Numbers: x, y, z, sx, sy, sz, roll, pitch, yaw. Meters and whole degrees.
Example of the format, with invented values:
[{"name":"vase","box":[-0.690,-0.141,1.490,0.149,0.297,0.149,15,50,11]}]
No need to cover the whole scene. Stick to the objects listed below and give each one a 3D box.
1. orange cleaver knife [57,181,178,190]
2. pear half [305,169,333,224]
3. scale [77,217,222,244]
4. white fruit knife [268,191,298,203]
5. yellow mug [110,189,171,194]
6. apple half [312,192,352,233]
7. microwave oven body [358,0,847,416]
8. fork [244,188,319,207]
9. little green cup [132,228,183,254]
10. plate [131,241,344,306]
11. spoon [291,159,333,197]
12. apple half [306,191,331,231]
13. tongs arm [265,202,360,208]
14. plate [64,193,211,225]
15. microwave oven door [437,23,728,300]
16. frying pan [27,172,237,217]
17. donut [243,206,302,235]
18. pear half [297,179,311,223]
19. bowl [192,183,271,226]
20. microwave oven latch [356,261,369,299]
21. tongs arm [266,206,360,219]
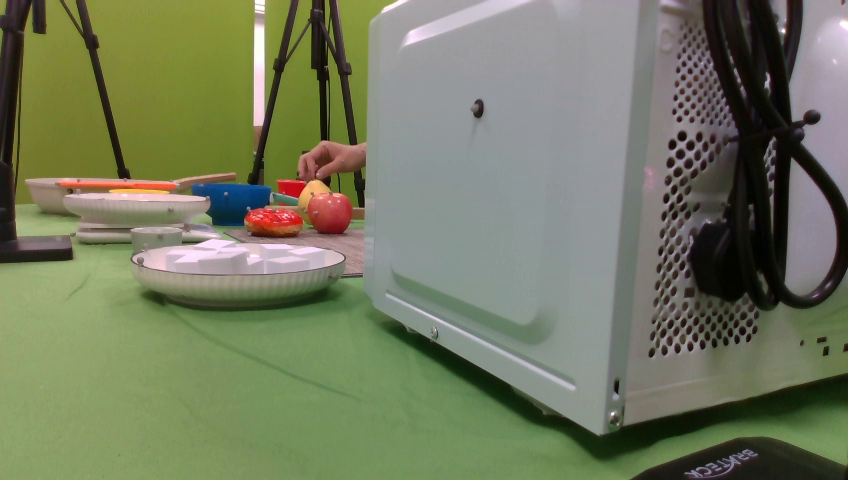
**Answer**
[{"name":"orange cleaver knife","box":[-0.600,-0.109,1.189,0.212,0.012,0.077,-1,11,-26]},{"name":"pear half","box":[-0.201,-0.087,1.199,0.056,0.110,0.076,-3,11,5]},{"name":"scale","box":[-0.434,-0.018,0.963,0.202,0.031,0.148,-1,8,-27]},{"name":"white fruit knife","box":[-0.364,-0.105,1.464,0.208,0.027,0.016,15,-1,-34]},{"name":"yellow mug","box":[-0.519,-0.055,1.080,0.099,0.064,0.131,7,10,26]},{"name":"apple half","box":[-0.161,-0.050,1.101,0.053,0.074,0.081,9,6,23]},{"name":"microwave oven body","box":[0.211,-0.047,0.474,0.444,0.260,0.324,-1,7,-28]},{"name":"fork","box":[-0.356,-0.105,1.526,0.208,0.018,0.028,16,-5,-41]},{"name":"little green cup","box":[-0.342,0.006,0.779,0.061,0.038,0.061,2,8,0]},{"name":"plate","box":[-0.187,0.033,0.625,0.208,0.039,0.207,2,8,0]},{"name":"spoon","box":[-0.316,-0.159,1.640,0.194,0.022,0.041,-50,32,-20]},{"name":"apple half","box":[-0.196,-0.055,1.114,0.032,0.081,0.081,9,9,23]},{"name":"tongs arm","box":[-0.211,-0.072,1.439,0.389,0.027,0.028,1,1,-17]},{"name":"plate","box":[-0.446,-0.050,0.952,0.209,0.038,0.209,2,7,0]},{"name":"microwave oven door","box":[0.180,-0.073,0.621,0.358,0.243,0.039,-2,9,-29]},{"name":"frying pan","box":[-0.624,-0.118,1.387,0.305,0.102,0.490,8,17,32]},{"name":"donut","box":[-0.261,-0.032,1.043,0.099,0.048,0.099,3,9,0]},{"name":"pear half","box":[-0.236,-0.077,1.204,0.031,0.088,0.070,-1,11,3]},{"name":"bowl","box":[-0.382,-0.070,1.202,0.151,0.077,0.151,3,7,0]},{"name":"microwave oven latch","box":[-0.019,0.034,0.528,0.079,0.029,0.030,0,7,-22]},{"name":"tongs arm","box":[-0.174,-0.061,1.363,0.387,0.026,0.050,-1,5,-31]}]
